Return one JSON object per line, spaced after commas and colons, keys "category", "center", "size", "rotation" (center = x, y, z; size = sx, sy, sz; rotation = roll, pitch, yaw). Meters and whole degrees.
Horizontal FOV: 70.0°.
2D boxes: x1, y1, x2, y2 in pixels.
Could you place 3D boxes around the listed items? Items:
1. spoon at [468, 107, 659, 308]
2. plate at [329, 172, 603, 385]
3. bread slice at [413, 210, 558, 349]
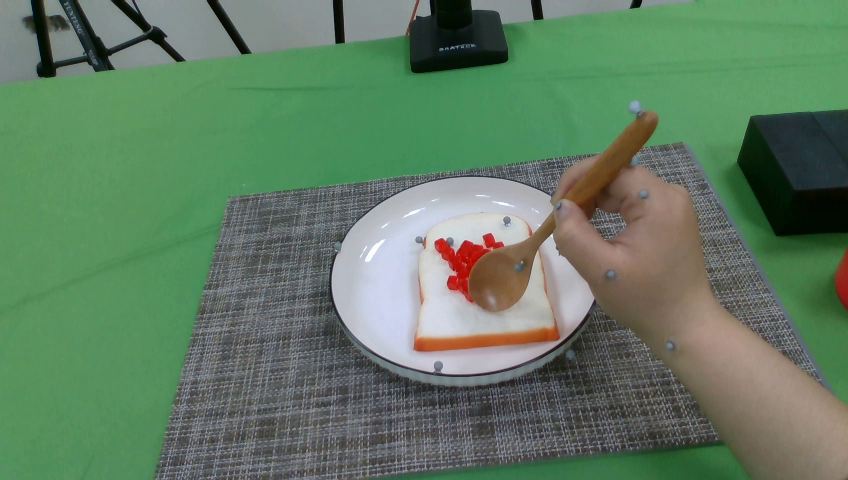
{"category": "spoon", "center": [0.078, -0.010, 0.371], "size": [0.041, 0.194, 0.021], "rotation": [47, 54, 9]}
{"category": "plate", "center": [0.031, 0.026, 0.476], "size": [0.209, 0.038, 0.207], "rotation": [-4, 46, 5]}
{"category": "bread slice", "center": [0.043, 0.026, 0.477], "size": [0.105, 0.019, 0.130], "rotation": [-4, 46, 3]}
